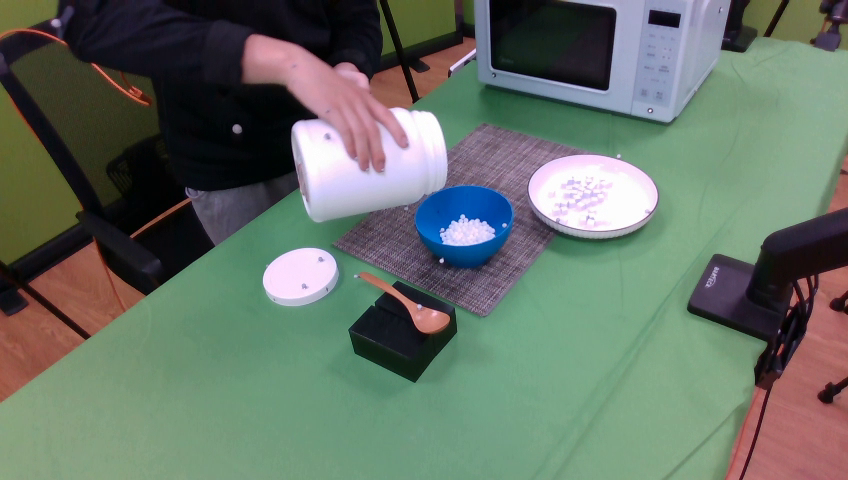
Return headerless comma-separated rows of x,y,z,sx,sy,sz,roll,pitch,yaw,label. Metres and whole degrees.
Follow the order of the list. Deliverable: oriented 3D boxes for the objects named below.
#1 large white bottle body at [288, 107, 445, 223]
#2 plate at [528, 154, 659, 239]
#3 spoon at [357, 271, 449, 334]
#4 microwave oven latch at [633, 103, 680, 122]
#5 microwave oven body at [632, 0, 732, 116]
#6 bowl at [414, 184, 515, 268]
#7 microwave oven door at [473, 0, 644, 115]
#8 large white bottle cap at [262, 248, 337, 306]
-0.075,-0.103,0.801,0.185,0.131,0.129,-13,40,-15,large white bottle body
0.274,-0.069,0.993,0.209,0.038,0.208,-2,42,2,plate
-0.034,0.078,0.812,0.042,0.022,0.192,-34,42,-24,spoon
0.443,-0.249,1.157,0.078,0.029,0.030,21,48,30,microwave oven latch
0.377,-0.462,1.267,0.438,0.261,0.327,21,48,30,microwave oven body
0.063,-0.011,0.922,0.151,0.077,0.150,-4,40,4,bowl
0.257,-0.396,1.199,0.353,0.245,0.039,21,48,29,microwave oven door
-0.193,0.056,0.934,0.115,0.018,0.114,-4,40,4,large white bottle cap
